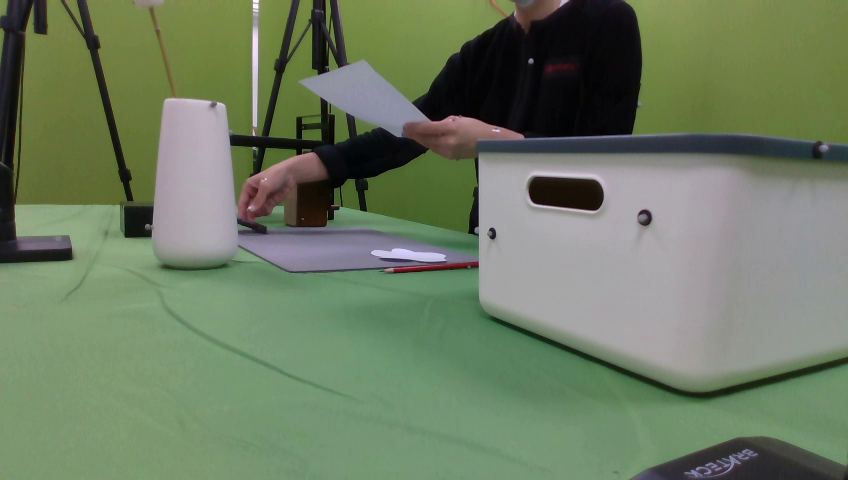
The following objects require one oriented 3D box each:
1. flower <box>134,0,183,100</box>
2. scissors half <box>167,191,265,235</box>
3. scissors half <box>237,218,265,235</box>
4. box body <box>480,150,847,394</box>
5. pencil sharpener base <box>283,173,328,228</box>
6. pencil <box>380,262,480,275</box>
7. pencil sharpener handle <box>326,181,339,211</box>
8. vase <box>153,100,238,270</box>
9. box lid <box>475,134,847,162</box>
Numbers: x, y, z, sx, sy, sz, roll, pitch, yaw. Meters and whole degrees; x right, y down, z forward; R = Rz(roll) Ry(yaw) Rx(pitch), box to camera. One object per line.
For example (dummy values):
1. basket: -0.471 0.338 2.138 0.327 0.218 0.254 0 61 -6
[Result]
1. flower: -0.282 -0.147 0.713 0.038 0.362 0.044 -23 24 -31
2. scissors half: -0.363 -0.048 1.060 0.176 0.013 0.040 26 -6 -23
3. scissors half: -0.357 -0.048 1.041 0.175 0.013 0.040 23 -10 -7
4. box body: 0.254 0.002 0.539 0.366 0.160 0.253 -2 8 -31
5. pencil sharpener base: -0.239 -0.081 1.231 0.077 0.107 0.061 -2 8 -36
6. pencil: 0.030 0.036 0.795 0.195 0.012 0.012 -3 9 -30
7. pencil sharpener handle: -0.194 -0.094 1.256 0.031 0.067 0.036 -2 -6 -36
8. vase: -0.278 -0.066 0.736 0.098 0.200 0.098 2 9 0
9. box lid: 0.256 -0.073 0.528 0.373 0.015 0.262 -2 8 -31
